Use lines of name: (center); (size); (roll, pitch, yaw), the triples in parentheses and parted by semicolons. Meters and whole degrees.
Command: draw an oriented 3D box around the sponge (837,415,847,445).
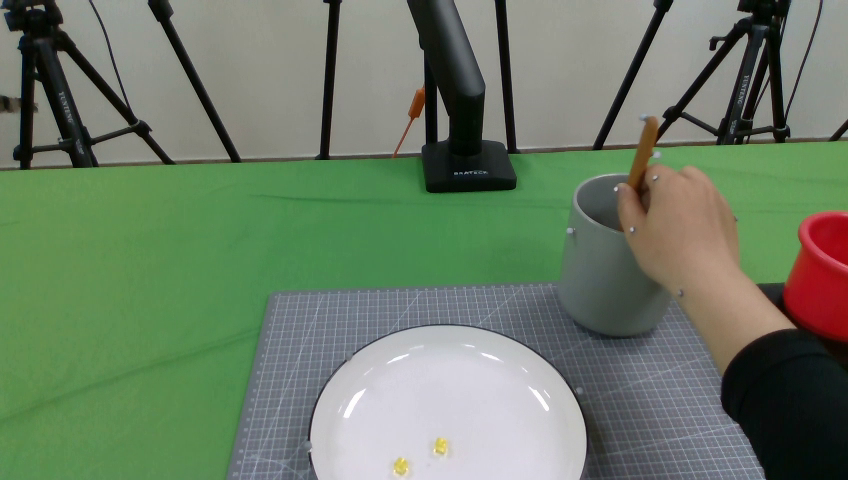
sponge: (0.405, 0.187, 0.401); (0.118, 0.061, 0.204); (-4, 36, -7)

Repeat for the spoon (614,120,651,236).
spoon: (0.173, -0.014, 0.525); (0.022, 0.195, 0.041); (-15, 41, -11)

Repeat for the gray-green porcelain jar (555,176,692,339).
gray-green porcelain jar: (0.181, 0.020, 0.568); (0.106, 0.127, 0.105); (0, 36, 0)

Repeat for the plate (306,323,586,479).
plate: (0.016, 0.149, 0.466); (0.208, 0.039, 0.205); (0, 36, 0)
